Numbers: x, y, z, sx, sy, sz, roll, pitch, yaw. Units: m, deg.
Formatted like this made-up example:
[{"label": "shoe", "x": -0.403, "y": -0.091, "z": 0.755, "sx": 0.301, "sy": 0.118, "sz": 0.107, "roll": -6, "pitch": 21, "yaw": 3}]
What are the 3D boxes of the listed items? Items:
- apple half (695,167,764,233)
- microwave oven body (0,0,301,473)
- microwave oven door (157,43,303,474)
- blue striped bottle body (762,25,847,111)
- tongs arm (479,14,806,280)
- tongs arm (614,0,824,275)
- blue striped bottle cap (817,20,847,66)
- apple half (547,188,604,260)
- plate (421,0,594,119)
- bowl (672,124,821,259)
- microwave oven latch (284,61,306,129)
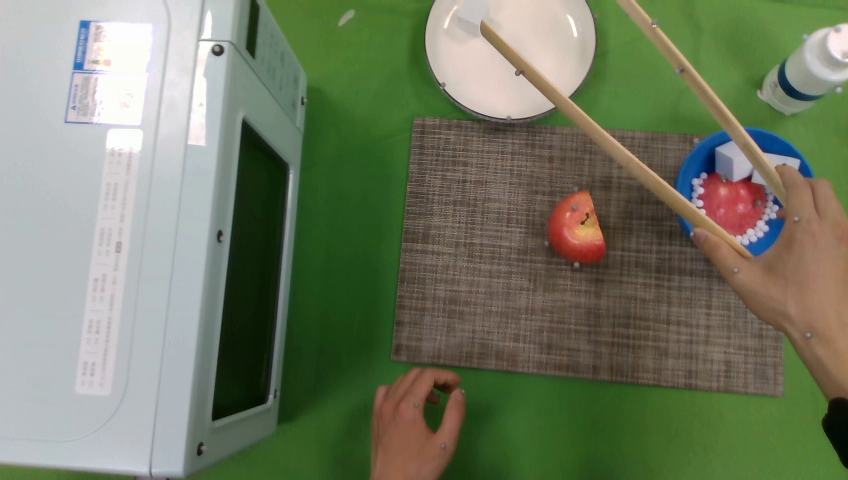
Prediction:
[{"label": "apple half", "x": 0.347, "y": -0.046, "z": 0.679, "sx": 0.081, "sy": 0.033, "sz": 0.081, "roll": 0, "pitch": 81, "yaw": 2}, {"label": "microwave oven body", "x": -0.323, "y": -0.023, "z": 0.620, "sx": 0.326, "sy": 0.261, "sz": 0.440, "roll": 3, "pitch": 83, "yaw": 3}, {"label": "microwave oven door", "x": -0.180, "y": 0.025, "z": 0.602, "sx": 0.039, "sy": 0.244, "sz": 0.354, "roll": 3, "pitch": 82, "yaw": 4}, {"label": "blue striped bottle body", "x": 0.440, "y": -0.196, "z": 0.682, "sx": 0.063, "sy": 0.121, "sz": 0.063, "roll": 0, "pitch": 81, "yaw": 3}, {"label": "tongs arm", "x": 0.182, "y": -0.098, "z": 0.569, "sx": 0.028, "sy": 0.028, "sz": 0.384, "roll": -38, "pitch": 69, "yaw": -11}, {"label": "tongs arm", "x": 0.243, "y": -0.138, "z": 0.573, "sx": 0.051, "sy": 0.027, "sz": 0.381, "roll": -30, "pitch": 69, "yaw": -3}, {"label": "blue striped bottle cap", "x": 0.438, "y": -0.205, "z": 0.632, "sx": 0.044, "sy": 0.020, "sz": 0.044, "roll": 0, "pitch": 85, "yaw": 3}, {"label": "apple half", "x": 0.167, "y": -0.014, "z": 0.690, "sx": 0.053, "sy": 0.075, "sz": 0.080, "roll": -15, "pitch": 85, "yaw": 4}, {"label": "plate", "x": 0.101, "y": -0.245, "z": 0.748, "sx": 0.207, "sy": 0.039, "sz": 0.207, "roll": 0, "pitch": 82, "yaw": 2}, {"label": "bowl", "x": 0.347, "y": -0.047, "z": 0.683, "sx": 0.151, "sy": 0.077, "sz": 0.151, "roll": 0, "pitch": 82, "yaw": 3}, {"label": "microwave oven latch", "x": -0.159, "y": -0.176, "z": 0.731, "sx": 0.030, "sy": 0.029, "sz": 0.079, "roll": 3, "pitch": 83, "yaw": 3}]
